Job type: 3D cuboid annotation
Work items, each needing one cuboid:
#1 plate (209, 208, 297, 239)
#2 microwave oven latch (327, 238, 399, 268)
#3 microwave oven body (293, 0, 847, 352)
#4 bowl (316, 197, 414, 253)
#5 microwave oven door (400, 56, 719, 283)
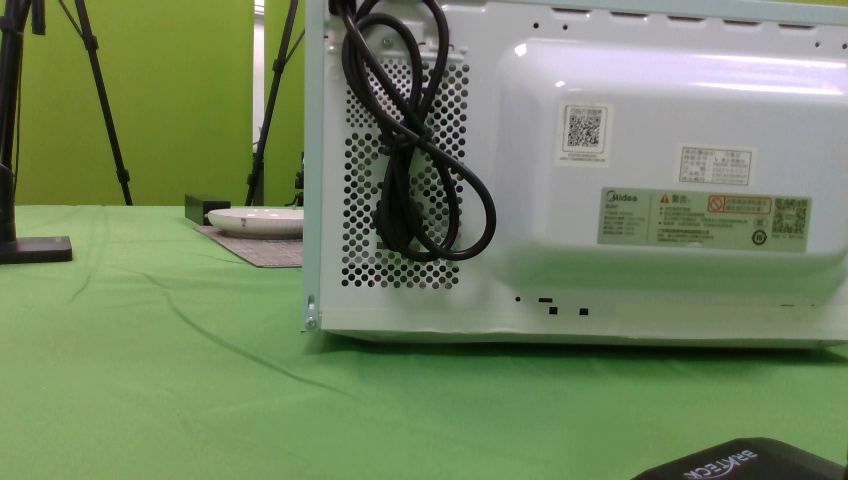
[{"bbox_3d":[-0.271,-0.029,1.073,0.208,0.039,0.207,3,7,0],"label":"plate"},{"bbox_3d":[-0.069,0.015,0.694,0.079,0.029,0.030,3,7,-3],"label":"microwave oven latch"},{"bbox_3d":[0.122,-0.055,0.550,0.442,0.260,0.325,3,7,-5],"label":"microwave oven body"},{"bbox_3d":[-0.092,-0.023,0.931,0.151,0.077,0.151,3,7,0],"label":"bowl"},{"bbox_3d":[0.155,-0.077,0.698,0.356,0.243,0.039,2,8,-5],"label":"microwave oven door"}]
